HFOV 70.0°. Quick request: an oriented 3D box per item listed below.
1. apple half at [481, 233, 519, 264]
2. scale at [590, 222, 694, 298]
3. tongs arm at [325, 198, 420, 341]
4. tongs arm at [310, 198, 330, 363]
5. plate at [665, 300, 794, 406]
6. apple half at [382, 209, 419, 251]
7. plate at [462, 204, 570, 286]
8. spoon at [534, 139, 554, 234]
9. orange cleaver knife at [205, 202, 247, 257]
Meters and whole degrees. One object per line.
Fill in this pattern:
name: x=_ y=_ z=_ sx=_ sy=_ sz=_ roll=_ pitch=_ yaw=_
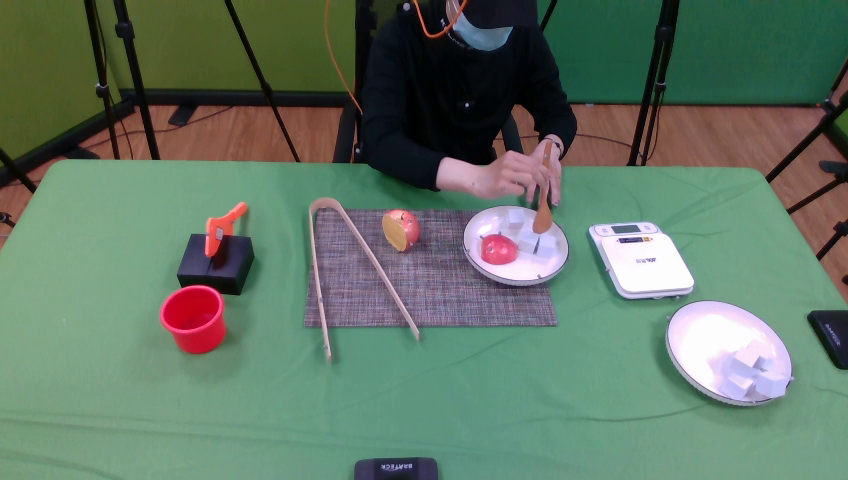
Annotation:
apple half: x=0.147 y=0.010 z=1.174 sx=0.081 sy=0.033 sz=0.081 roll=0 pitch=45 yaw=0
scale: x=0.424 y=0.031 z=1.189 sx=0.149 sy=0.032 sz=0.199 roll=-3 pitch=46 yaw=-7
tongs arm: x=-0.101 y=0.042 z=1.139 sx=0.028 sy=0.028 sz=0.385 roll=-23 pitch=51 yaw=-17
tongs arm: x=-0.180 y=0.058 z=1.117 sx=0.051 sy=0.026 sz=0.382 roll=-10 pitch=47 yaw=-11
plate: x=0.513 y=0.194 z=1.034 sx=0.208 sy=0.039 sz=0.206 roll=2 pitch=46 yaw=-2
apple half: x=-0.039 y=-0.022 z=1.175 sx=0.053 sy=0.075 sz=0.080 roll=-27 pitch=50 yaw=-31
plate: x=0.177 y=0.013 z=1.180 sx=0.209 sy=0.038 sz=0.208 roll=2 pitch=46 yaw=-2
spoon: x=0.228 y=-0.096 z=1.137 sx=0.042 sy=0.194 sz=0.021 roll=-7 pitch=26 yaw=-9
orange cleaver knife: x=-0.374 y=-0.023 z=1.151 sx=0.012 sy=0.077 sz=0.210 roll=4 pitch=16 yaw=1
